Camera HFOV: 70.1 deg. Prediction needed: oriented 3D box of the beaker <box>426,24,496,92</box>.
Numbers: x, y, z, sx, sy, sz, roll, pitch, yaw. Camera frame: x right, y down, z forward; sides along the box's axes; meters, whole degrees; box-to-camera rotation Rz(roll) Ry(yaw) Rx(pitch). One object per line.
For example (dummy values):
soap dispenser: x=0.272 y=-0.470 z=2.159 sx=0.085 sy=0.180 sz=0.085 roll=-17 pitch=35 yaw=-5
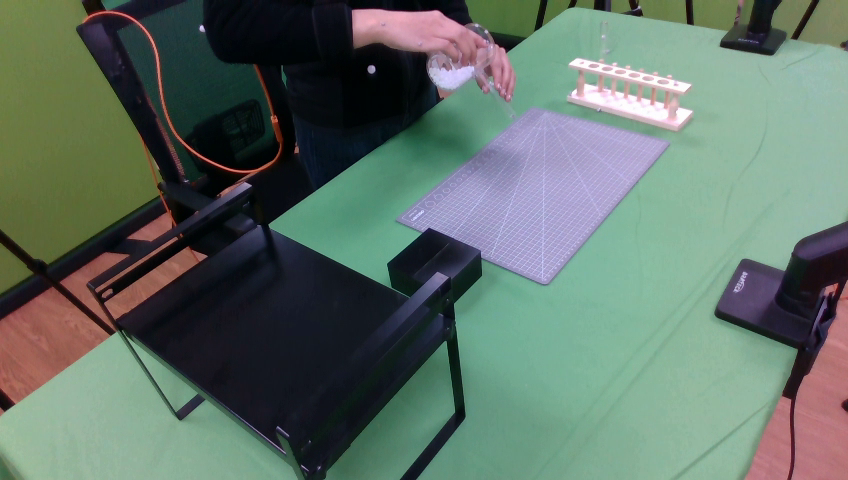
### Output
beaker: x=0.057 y=-0.288 z=0.971 sx=0.073 sy=0.084 sz=0.100 roll=25 pitch=52 yaw=30

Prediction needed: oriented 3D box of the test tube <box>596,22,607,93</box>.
test tube: x=0.363 y=-0.372 z=1.240 sx=0.017 sy=0.151 sz=0.017 roll=-6 pitch=40 yaw=5

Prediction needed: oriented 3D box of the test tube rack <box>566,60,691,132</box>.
test tube rack: x=0.411 y=-0.300 z=1.217 sx=0.240 sy=0.085 sz=0.067 roll=26 pitch=51 yaw=33

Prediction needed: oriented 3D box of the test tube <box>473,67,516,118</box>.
test tube: x=0.129 y=-0.260 z=1.079 sx=0.017 sy=0.151 sz=0.017 roll=-14 pitch=62 yaw=29
